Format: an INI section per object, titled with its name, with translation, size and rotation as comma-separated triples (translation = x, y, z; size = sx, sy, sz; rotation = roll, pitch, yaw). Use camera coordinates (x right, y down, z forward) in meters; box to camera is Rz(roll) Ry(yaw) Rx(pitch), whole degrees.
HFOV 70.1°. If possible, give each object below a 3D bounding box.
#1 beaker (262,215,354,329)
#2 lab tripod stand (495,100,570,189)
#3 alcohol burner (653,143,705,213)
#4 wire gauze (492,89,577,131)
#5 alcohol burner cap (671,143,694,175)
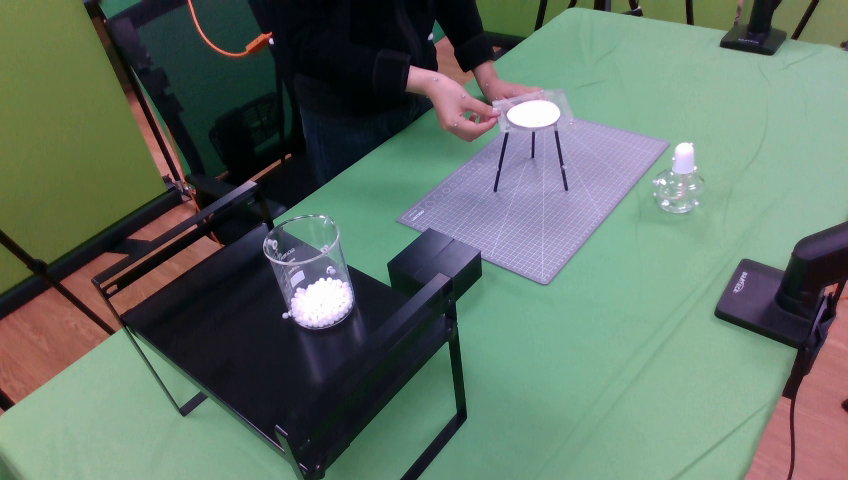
[beaker]
translation = -0.112, 0.034, 0.616
size = 0.073, 0.101, 0.084
rotation = 13, 44, 23
[lab tripod stand]
translation = 0.186, -0.161, 1.043
size = 0.148, 0.132, 0.147
rotation = -5, 43, 5
[alcohol burner]
translation = 0.408, -0.102, 0.963
size = 0.078, 0.119, 0.077
rotation = -5, 42, 5
[wire gauze]
translation = 0.181, -0.213, 1.002
size = 0.125, 0.011, 0.121
rotation = -5, 41, 3
[alcohol burner cap]
translation = 0.403, -0.129, 0.941
size = 0.034, 0.048, 0.033
rotation = -9, 39, 8
